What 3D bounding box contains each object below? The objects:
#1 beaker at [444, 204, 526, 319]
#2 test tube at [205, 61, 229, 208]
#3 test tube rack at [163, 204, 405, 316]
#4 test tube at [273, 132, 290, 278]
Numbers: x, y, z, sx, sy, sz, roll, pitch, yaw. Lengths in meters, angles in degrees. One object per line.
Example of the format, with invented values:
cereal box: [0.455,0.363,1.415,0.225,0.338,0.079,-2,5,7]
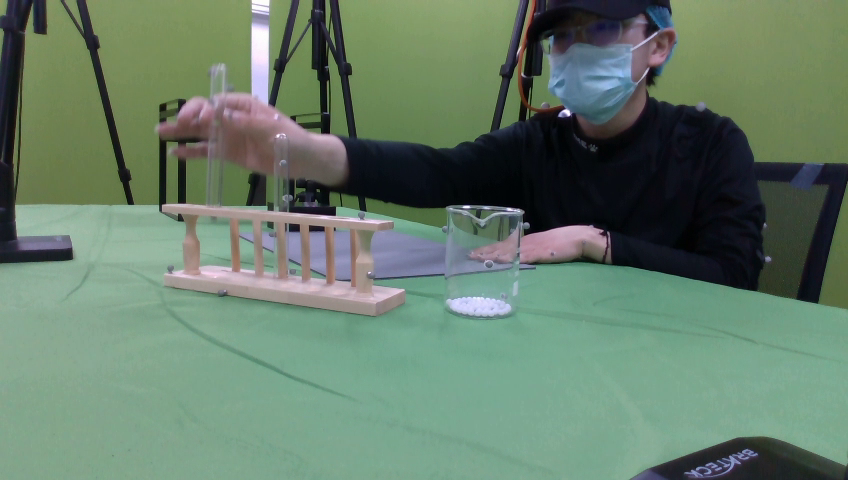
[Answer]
beaker: [0.055,0.019,0.563,0.074,0.100,0.084,3,8,8]
test tube: [-0.208,-0.105,0.606,0.017,0.150,0.017,3,0,0]
test tube rack: [-0.141,0.013,0.601,0.241,0.085,0.067,5,8,21]
test tube: [-0.146,-0.034,0.618,0.017,0.150,0.017,2,8,0]
